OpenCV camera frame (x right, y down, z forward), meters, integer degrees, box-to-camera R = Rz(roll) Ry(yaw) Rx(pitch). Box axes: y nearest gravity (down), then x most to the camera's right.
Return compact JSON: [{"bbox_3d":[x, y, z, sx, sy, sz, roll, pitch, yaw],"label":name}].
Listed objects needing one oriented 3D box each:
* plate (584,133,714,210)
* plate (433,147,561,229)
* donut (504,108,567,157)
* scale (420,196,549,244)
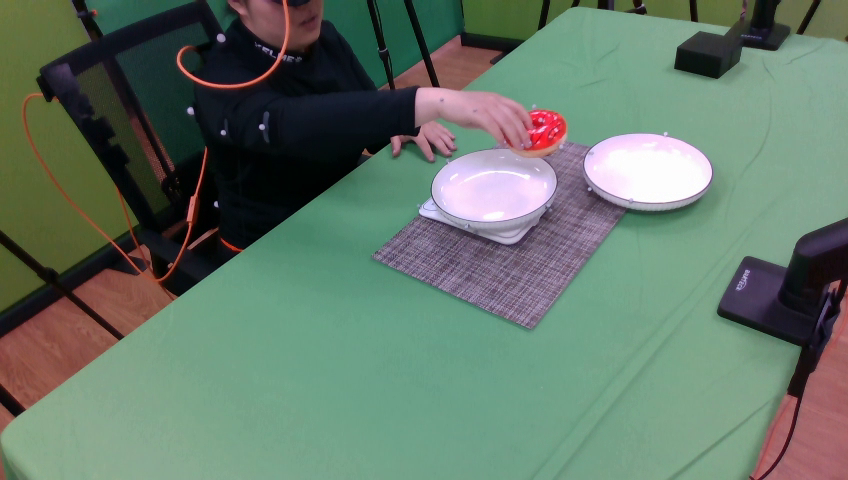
[{"bbox_3d":[0.379,-0.113,1.030,0.209,0.038,0.208,-4,41,4],"label":"plate"},{"bbox_3d":[0.120,-0.082,0.996,0.207,0.039,0.206,-6,40,5],"label":"plate"},{"bbox_3d":[0.176,-0.169,0.952,0.099,0.048,0.098,-9,43,9],"label":"donut"},{"bbox_3d":[0.106,-0.064,1.029,0.199,0.032,0.149,21,48,32],"label":"scale"}]
